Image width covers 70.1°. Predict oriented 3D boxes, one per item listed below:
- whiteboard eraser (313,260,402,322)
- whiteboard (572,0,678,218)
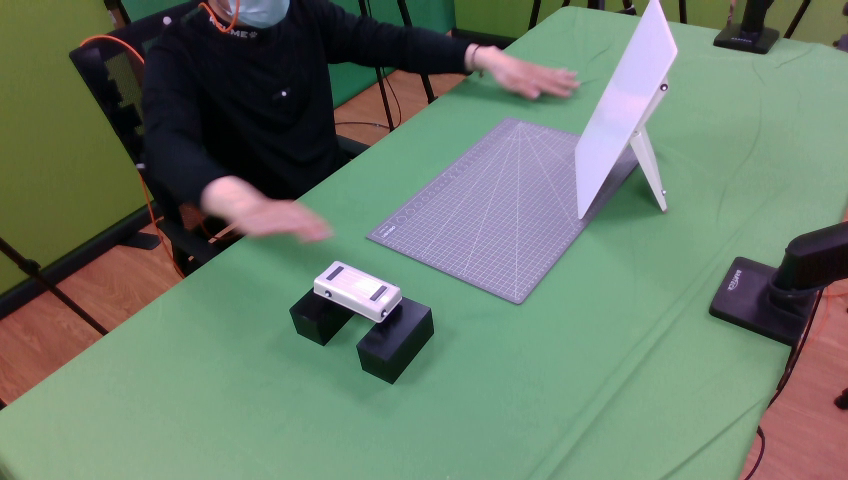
[{"bbox_3d":[-0.090,0.070,0.813,0.112,0.042,0.056,21,42,24],"label":"whiteboard eraser"},{"bbox_3d":[0.367,-0.188,0.964,0.144,0.305,0.216,17,42,-3],"label":"whiteboard"}]
